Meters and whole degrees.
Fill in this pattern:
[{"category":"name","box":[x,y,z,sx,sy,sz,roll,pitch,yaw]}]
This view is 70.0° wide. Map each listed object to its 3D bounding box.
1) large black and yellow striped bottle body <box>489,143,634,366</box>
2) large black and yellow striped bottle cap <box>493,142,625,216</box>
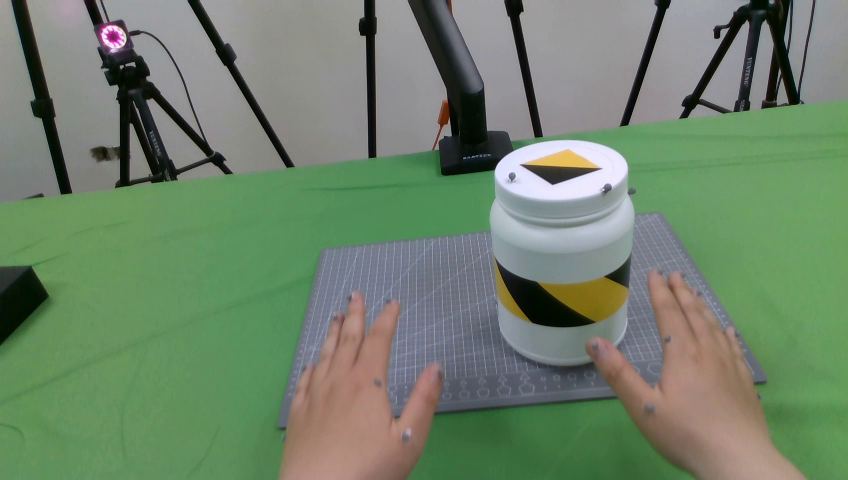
[{"category":"large black and yellow striped bottle body","box":[0.130,0.013,0.581,0.131,0.185,0.129,-6,34,4]},{"category":"large black and yellow striped bottle cap","box":[0.118,-0.056,0.534,0.115,0.019,0.114,-5,32,4]}]
